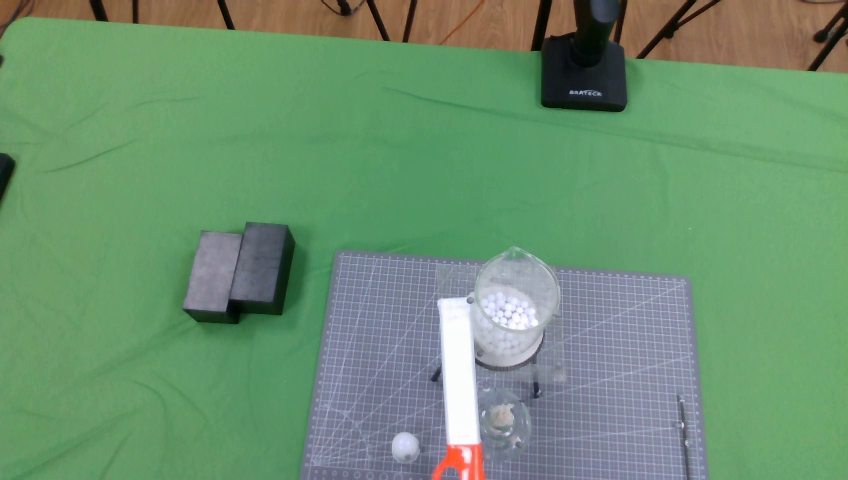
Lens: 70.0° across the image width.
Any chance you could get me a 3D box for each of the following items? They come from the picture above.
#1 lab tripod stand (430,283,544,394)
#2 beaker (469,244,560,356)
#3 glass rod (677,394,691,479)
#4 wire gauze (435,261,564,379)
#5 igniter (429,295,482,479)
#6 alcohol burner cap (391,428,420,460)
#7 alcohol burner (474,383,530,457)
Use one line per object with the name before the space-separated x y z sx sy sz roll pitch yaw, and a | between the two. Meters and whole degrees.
lab tripod stand | 0.074 0.107 0.663 0.148 0.132 0.147 0 65 1
beaker | 0.078 0.060 0.559 0.074 0.101 0.083 1 64 0
glass rod | 0.290 0.269 0.665 0.008 0.008 0.198 4 66 1
wire gauze | 0.074 0.078 0.604 0.125 0.011 0.120 0 64 1
igniter | 0.032 0.187 0.536 0.057 0.025 0.275 -4 83 13
alcohol burner cap | -0.021 0.221 0.663 0.034 0.048 0.033 0 67 0
alcohol burner | 0.076 0.187 0.640 0.078 0.120 0.077 0 65 1
